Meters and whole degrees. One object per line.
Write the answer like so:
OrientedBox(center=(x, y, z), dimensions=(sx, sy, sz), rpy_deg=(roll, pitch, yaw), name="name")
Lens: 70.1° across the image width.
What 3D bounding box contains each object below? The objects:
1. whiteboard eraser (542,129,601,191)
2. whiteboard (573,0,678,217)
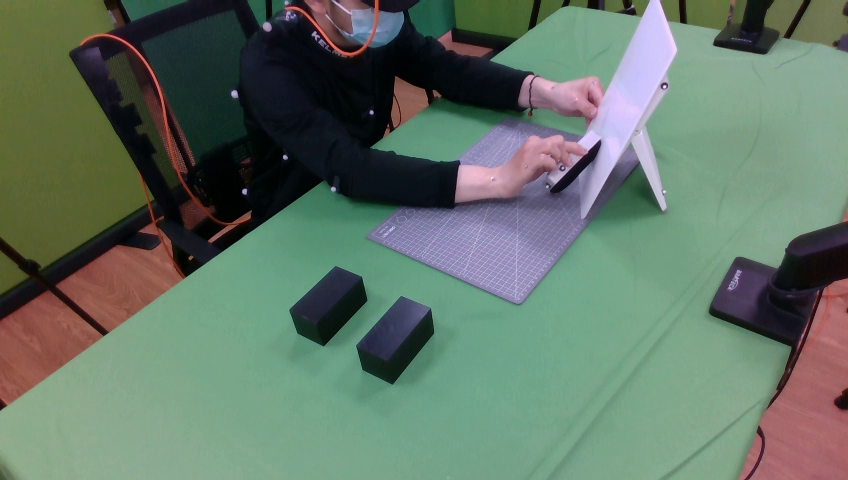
OrientedBox(center=(0.250, -0.130, 1.007), dimensions=(0.042, 0.055, 0.113), rpy_deg=(43, 84, 6), name="whiteboard eraser")
OrientedBox(center=(0.368, -0.189, 0.964), dimensions=(0.144, 0.305, 0.216), rpy_deg=(18, 42, -2), name="whiteboard")
